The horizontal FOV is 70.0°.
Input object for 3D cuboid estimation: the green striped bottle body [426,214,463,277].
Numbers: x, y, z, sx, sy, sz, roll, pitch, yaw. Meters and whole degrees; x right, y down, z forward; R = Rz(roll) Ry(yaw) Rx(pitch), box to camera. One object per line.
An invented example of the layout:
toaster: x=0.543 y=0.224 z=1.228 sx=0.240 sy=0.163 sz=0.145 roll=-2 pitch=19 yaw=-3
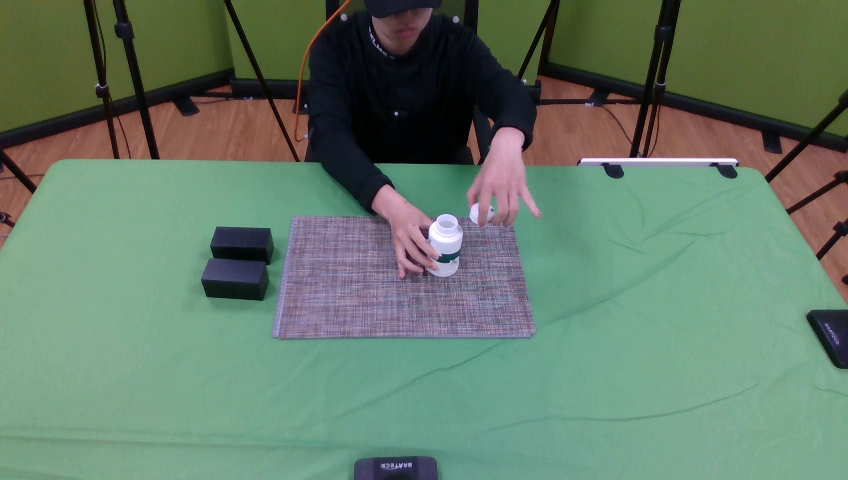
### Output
green striped bottle body: x=0.037 y=0.008 z=1.121 sx=0.063 sy=0.120 sz=0.063 roll=2 pitch=46 yaw=-2

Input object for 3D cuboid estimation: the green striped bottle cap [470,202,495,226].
green striped bottle cap: x=0.104 y=-0.046 z=1.080 sx=0.044 sy=0.020 sz=0.044 roll=0 pitch=47 yaw=1
